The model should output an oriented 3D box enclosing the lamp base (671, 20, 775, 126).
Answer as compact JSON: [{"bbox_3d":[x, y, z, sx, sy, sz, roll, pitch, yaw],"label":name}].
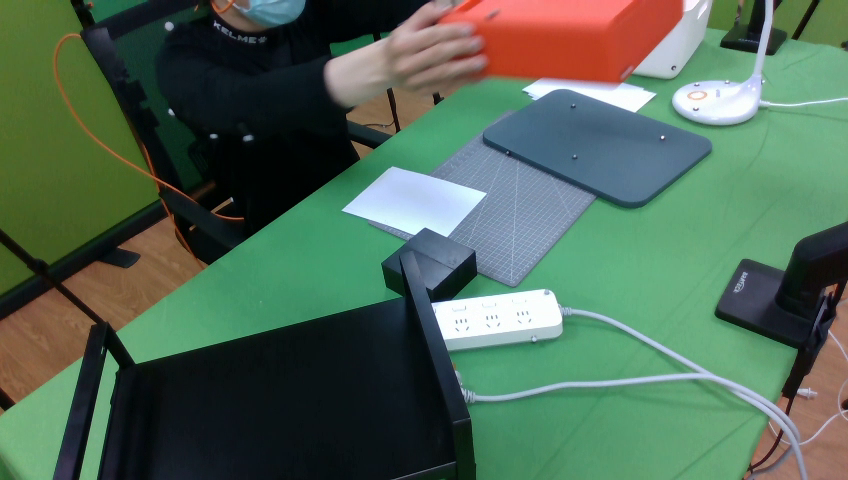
[{"bbox_3d":[0.582,-0.332,1.153,0.179,0.181,0.160,2,42,7],"label":"lamp base"}]

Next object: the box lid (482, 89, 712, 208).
[{"bbox_3d":[0.320,-0.190,1.156,0.264,0.015,0.368,-33,47,-28],"label":"box lid"}]

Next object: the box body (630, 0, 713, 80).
[{"bbox_3d":[0.451,-0.513,1.398,0.361,0.161,0.254,19,47,28],"label":"box body"}]

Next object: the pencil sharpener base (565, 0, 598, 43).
[{"bbox_3d":[0.388,-0.550,1.484,0.061,0.107,0.077,13,44,23],"label":"pencil sharpener base"}]

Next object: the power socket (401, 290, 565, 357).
[{"bbox_3d":[0.080,0.113,0.821,0.227,0.033,0.072,-6,41,0],"label":"power socket"}]

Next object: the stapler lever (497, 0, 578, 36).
[{"bbox_3d":[0.139,-0.289,0.746,0.118,0.040,0.026,-32,43,-21],"label":"stapler lever"}]

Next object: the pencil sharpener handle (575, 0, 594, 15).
[{"bbox_3d":[0.401,-0.594,1.511,0.036,0.067,0.030,35,49,0],"label":"pencil sharpener handle"}]

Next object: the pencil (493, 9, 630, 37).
[{"bbox_3d":[0.171,-0.266,0.744,0.195,0.012,0.012,-16,41,-17],"label":"pencil"}]

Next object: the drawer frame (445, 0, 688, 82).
[{"bbox_3d":[0.171,-0.270,0.714,0.212,0.083,0.202,17,47,35],"label":"drawer frame"}]

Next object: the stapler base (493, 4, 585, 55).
[{"bbox_3d":[0.144,-0.270,0.760,0.131,0.024,0.041,-32,43,-21],"label":"stapler base"}]

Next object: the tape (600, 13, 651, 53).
[{"bbox_3d":[0.484,-0.497,1.451,0.117,0.053,0.116,-4,41,4],"label":"tape"}]

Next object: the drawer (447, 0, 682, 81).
[{"bbox_3d":[0.168,-0.268,0.717,0.210,0.073,0.195,18,48,36],"label":"drawer"}]

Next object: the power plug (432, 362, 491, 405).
[{"bbox_3d":[0.045,0.182,0.758,0.073,0.035,0.052,22,42,-18],"label":"power plug"}]
